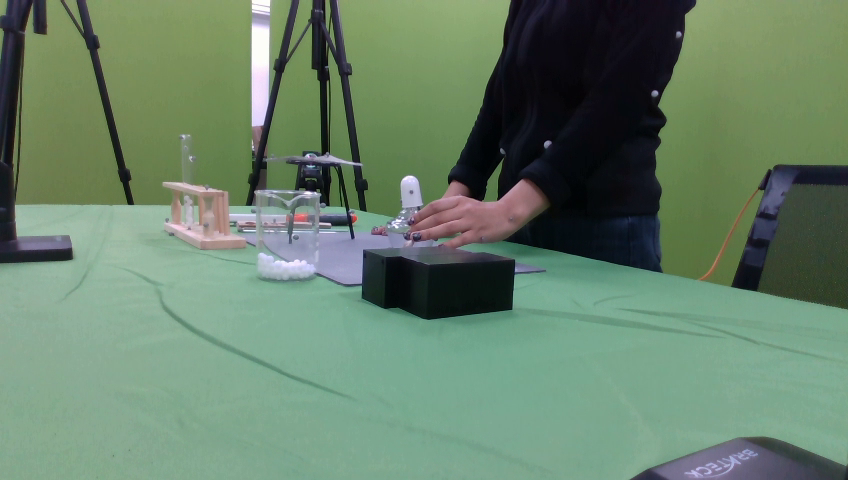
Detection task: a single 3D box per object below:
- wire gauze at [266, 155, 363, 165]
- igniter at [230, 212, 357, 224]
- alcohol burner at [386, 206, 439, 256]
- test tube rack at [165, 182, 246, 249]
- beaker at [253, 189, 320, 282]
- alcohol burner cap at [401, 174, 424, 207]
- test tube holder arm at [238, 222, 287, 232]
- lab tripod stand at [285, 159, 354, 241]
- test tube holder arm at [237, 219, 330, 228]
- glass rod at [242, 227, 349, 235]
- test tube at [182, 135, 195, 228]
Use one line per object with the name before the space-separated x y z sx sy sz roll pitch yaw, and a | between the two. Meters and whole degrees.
wire gauze | -0.185 -0.136 1.016 0.126 0.011 0.121 -4 11 -33
igniter | -0.271 -0.044 1.232 0.278 0.025 0.057 -2 -2 -27
alcohol burner | -0.018 -0.036 0.886 0.078 0.119 0.078 0 11 0
test tube rack | -0.360 -0.045 0.982 0.067 0.085 0.241 -3 9 -34
beaker | -0.156 -0.005 0.689 0.074 0.100 0.083 0 8 -14
alcohol burner cap | -0.020 -0.071 0.880 0.034 0.048 0.034 -8 10 2
test tube holder arm | -0.297 -0.024 1.114 0.088 0.015 0.010 -3 48 -33
lab tripod stand | -0.187 -0.068 1.013 0.148 0.131 0.148 4 9 0
test tube holder arm | -0.261 -0.031 1.142 0.179 0.015 0.013 -5 49 -34
glass rod | -0.232 -0.016 1.110 0.201 0.008 0.008 2 6 -30
test tube | -0.382 -0.095 0.983 0.017 0.150 0.017 -1 2 0
